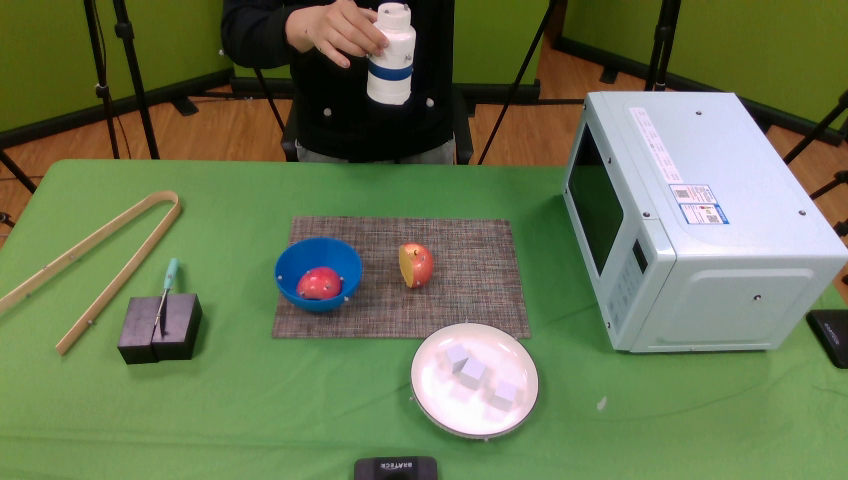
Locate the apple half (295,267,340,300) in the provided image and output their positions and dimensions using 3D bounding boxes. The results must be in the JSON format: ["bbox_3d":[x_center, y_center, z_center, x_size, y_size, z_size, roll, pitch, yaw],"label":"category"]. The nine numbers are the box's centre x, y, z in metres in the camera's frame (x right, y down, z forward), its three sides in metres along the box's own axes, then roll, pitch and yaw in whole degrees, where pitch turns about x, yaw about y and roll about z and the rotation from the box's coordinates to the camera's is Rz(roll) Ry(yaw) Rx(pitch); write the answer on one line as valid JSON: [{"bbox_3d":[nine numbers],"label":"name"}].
[{"bbox_3d":[-0.187,0.070,1.067,0.081,0.033,0.081,3,47,-3],"label":"apple half"}]

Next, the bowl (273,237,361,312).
[{"bbox_3d":[-0.186,0.074,1.069,0.151,0.077,0.150,3,46,-3],"label":"bowl"}]

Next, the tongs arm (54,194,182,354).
[{"bbox_3d":[-0.543,0.048,1.108,0.028,0.028,0.385,11,45,10],"label":"tongs arm"}]

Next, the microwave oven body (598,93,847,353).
[{"bbox_3d":[0.475,-0.041,1.109,0.326,0.261,0.438,-1,45,-4],"label":"microwave oven body"}]

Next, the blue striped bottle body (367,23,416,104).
[{"bbox_3d":[-0.046,-0.257,0.842,0.063,0.121,0.062,5,42,-4],"label":"blue striped bottle body"}]

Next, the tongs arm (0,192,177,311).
[{"bbox_3d":[-0.618,0.019,1.124,0.050,0.026,0.384,24,47,16],"label":"tongs arm"}]

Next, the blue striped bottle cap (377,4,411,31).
[{"bbox_3d":[-0.040,-0.297,0.807,0.044,0.021,0.044,6,44,-5],"label":"blue striped bottle cap"}]

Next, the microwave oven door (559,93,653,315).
[{"bbox_3d":[0.327,-0.074,1.123,0.039,0.245,0.353,0,46,-5],"label":"microwave oven door"}]

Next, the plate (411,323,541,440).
[{"bbox_3d":[0.082,0.228,0.976,0.208,0.039,0.206,2,45,-2],"label":"plate"}]

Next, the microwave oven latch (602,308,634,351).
[{"bbox_3d":[0.332,0.153,1.044,0.030,0.029,0.078,-1,45,-4],"label":"microwave oven latch"}]

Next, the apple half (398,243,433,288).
[{"bbox_3d":[-0.012,0.046,1.115,0.053,0.075,0.080,-11,44,-19],"label":"apple half"}]

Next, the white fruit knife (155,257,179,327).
[{"bbox_3d":[-0.440,0.085,1.037,0.016,0.027,0.206,10,26,-19],"label":"white fruit knife"}]
